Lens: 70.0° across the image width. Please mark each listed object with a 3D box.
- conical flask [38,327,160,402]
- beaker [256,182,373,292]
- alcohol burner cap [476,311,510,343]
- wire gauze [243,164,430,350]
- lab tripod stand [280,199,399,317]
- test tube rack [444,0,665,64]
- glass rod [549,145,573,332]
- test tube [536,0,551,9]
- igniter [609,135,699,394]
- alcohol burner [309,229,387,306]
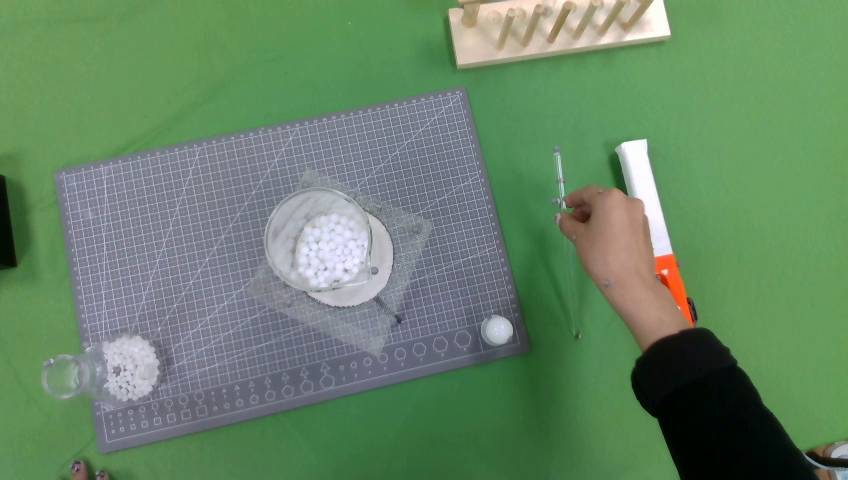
[{"bbox_3d":[-0.302,0.118,0.560,0.075,0.122,0.075,0,82,-2],"label":"conical flask"},{"bbox_3d":[-0.075,0.005,0.464,0.084,0.100,0.074,38,84,3],"label":"beaker"},{"bbox_3d":[0.072,0.088,0.620,0.034,0.048,0.033,1,79,-5],"label":"alcohol burner cap"},{"bbox_3d":[-0.073,0.013,0.511,0.125,0.011,0.121,25,85,-1],"label":"wire gauze"},{"bbox_3d":[-0.077,0.020,0.577,0.148,0.131,0.148,0,84,-1],"label":"lab tripod stand"},{"bbox_3d":[0.147,-0.253,0.647,0.242,0.085,0.066,-9,83,-3],"label":"test tube rack"},{"bbox_3d":[0.142,0.002,0.624,0.008,0.008,0.200,-10,104,-4],"label":"glass rod"},{"bbox_3d":[0.130,-0.271,0.599,0.017,0.150,0.017,0,82,1],"label":"test tube"},{"bbox_3d":[0.245,0.023,0.645,0.057,0.025,0.275,-10,84,-14],"label":"igniter"},{"bbox_3d":[-0.075,0.025,0.586,0.078,0.119,0.077,0,84,0],"label":"alcohol burner"}]
